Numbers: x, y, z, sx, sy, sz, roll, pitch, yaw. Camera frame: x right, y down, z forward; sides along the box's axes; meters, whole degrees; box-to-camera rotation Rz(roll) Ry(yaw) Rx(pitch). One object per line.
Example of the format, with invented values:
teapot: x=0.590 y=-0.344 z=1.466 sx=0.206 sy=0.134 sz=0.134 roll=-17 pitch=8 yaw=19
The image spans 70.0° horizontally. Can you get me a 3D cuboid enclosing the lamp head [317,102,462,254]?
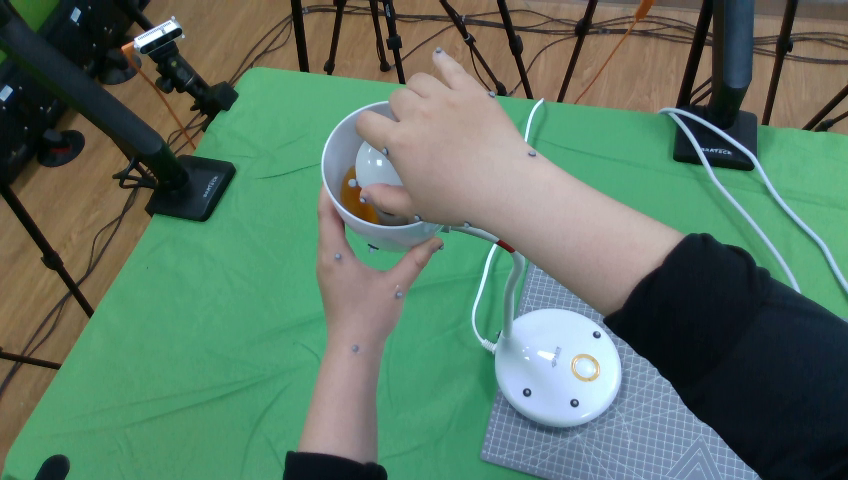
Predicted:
lamp head: x=-0.022 y=-0.037 z=0.509 sx=0.112 sy=0.124 sz=0.111 roll=-2 pitch=66 yaw=4

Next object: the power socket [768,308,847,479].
power socket: x=0.456 y=0.182 z=0.725 sx=0.072 sy=0.033 sz=0.225 roll=10 pitch=59 yaw=13

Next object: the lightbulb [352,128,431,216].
lightbulb: x=-0.025 y=-0.047 z=0.479 sx=0.059 sy=0.108 sz=0.059 roll=1 pitch=71 yaw=-3

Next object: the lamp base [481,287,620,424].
lamp base: x=0.148 y=0.117 z=0.724 sx=0.178 sy=0.182 sz=0.159 roll=4 pitch=58 yaw=15
